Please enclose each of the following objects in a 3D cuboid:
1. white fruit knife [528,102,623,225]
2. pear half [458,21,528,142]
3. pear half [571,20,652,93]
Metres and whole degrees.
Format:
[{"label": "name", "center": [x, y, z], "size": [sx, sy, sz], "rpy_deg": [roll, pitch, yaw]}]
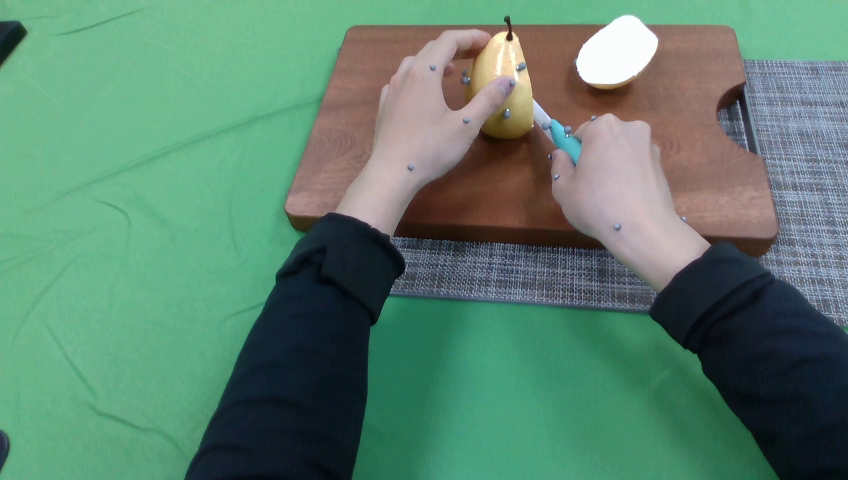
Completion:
[{"label": "white fruit knife", "center": [0.109, -0.086, 0.514], "size": [0.016, 0.028, 0.205], "rpy_deg": [-19, 46, -9]}, {"label": "pear half", "center": [0.056, -0.135, 0.515], "size": [0.056, 0.111, 0.075], "rpy_deg": [-18, 51, -7]}, {"label": "pear half", "center": [0.178, -0.167, 0.570], "size": [0.070, 0.031, 0.087], "rpy_deg": [12, 59, 27]}]
